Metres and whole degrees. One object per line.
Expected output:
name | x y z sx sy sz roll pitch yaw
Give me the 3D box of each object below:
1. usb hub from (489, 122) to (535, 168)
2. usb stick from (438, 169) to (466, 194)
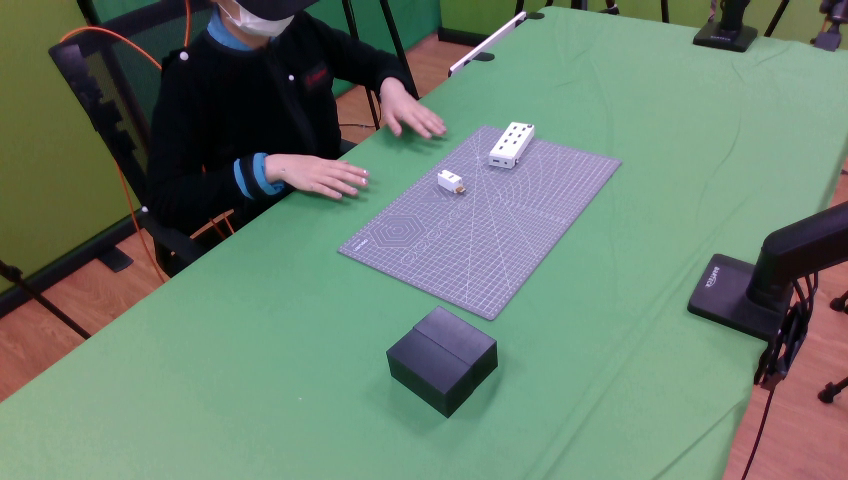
usb hub | 0.169 -0.182 1.149 0.049 0.025 0.125 15 45 23
usb stick | 0.051 -0.102 1.072 0.021 0.027 0.058 -32 49 -28
